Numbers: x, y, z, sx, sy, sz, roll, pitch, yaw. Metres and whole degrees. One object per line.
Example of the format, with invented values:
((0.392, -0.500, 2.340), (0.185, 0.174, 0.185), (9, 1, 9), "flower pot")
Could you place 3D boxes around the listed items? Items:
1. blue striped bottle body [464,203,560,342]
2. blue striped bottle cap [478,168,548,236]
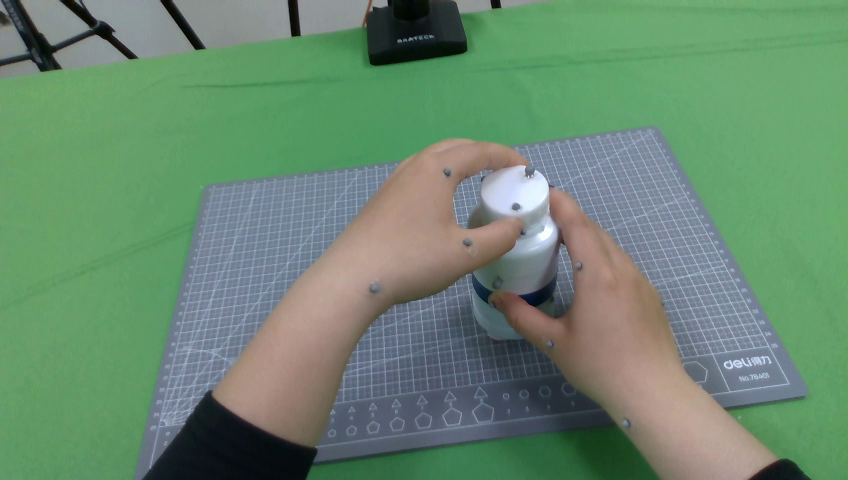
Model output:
((0.061, 0.013, 0.422), (0.063, 0.122, 0.062), (-4, 47, 5), "blue striped bottle body")
((0.056, -0.025, 0.380), (0.044, 0.021, 0.044), (-5, 49, 6), "blue striped bottle cap")
